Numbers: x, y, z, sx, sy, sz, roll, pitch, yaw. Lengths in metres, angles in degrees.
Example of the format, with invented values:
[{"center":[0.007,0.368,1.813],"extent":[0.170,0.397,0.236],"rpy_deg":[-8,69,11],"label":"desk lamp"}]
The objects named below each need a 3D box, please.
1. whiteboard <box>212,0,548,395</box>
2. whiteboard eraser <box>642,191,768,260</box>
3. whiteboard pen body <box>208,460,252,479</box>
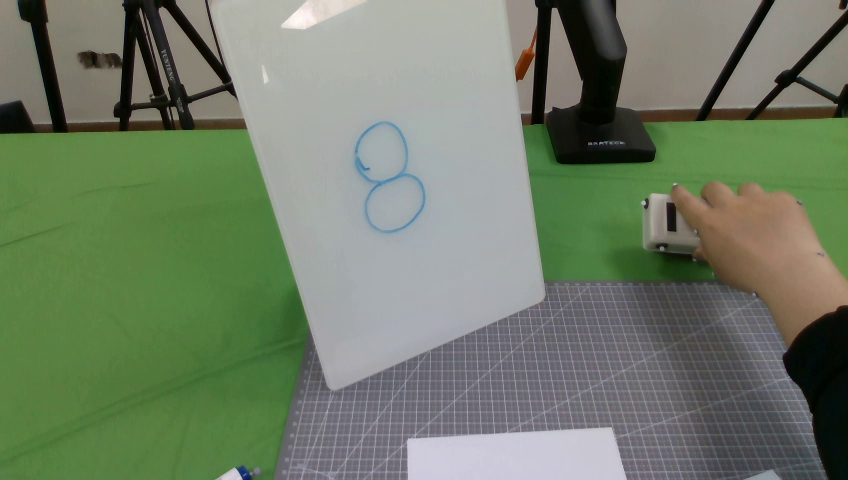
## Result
[{"center":[-0.037,-0.065,0.530],"extent":[0.217,0.307,0.142],"rpy_deg":[-20,23,-19],"label":"whiteboard"},{"center":[0.269,-0.013,0.587],"extent":[0.112,0.042,0.055],"rpy_deg":[6,72,2],"label":"whiteboard eraser"},{"center":[-0.180,0.191,0.401],"extent":[0.141,0.017,0.017],"rpy_deg":[-27,46,-29],"label":"whiteboard pen body"}]
